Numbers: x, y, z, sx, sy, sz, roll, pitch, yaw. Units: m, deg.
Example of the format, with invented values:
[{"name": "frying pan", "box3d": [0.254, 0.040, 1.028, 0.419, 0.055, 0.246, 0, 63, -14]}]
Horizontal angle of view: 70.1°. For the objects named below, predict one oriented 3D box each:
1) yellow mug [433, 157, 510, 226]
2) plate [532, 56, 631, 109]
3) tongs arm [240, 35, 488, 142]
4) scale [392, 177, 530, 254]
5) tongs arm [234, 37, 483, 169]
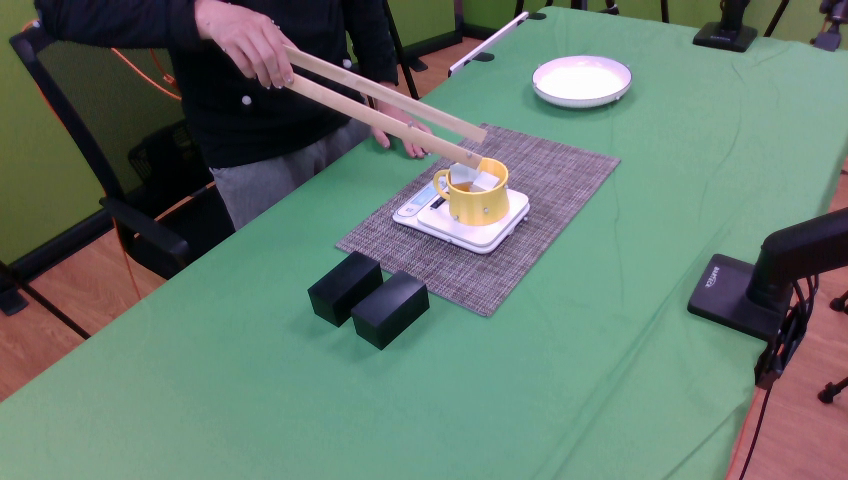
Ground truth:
[{"name": "yellow mug", "box3d": [0.072, -0.082, 0.968, 0.130, 0.064, 0.100, 13, 46, 24]}, {"name": "plate", "box3d": [0.335, -0.335, 1.301, 0.207, 0.039, 0.206, -4, 41, 4]}, {"name": "tongs arm", "box3d": [-0.085, -0.225, 0.909, 0.389, 0.028, 0.028, 20, 46, -9]}, {"name": "scale", "box3d": [0.060, -0.050, 1.006, 0.199, 0.032, 0.149, 22, 48, 30]}, {"name": "tongs arm", "box3d": [-0.093, -0.196, 0.874, 0.386, 0.026, 0.050, 21, 42, -7]}]
